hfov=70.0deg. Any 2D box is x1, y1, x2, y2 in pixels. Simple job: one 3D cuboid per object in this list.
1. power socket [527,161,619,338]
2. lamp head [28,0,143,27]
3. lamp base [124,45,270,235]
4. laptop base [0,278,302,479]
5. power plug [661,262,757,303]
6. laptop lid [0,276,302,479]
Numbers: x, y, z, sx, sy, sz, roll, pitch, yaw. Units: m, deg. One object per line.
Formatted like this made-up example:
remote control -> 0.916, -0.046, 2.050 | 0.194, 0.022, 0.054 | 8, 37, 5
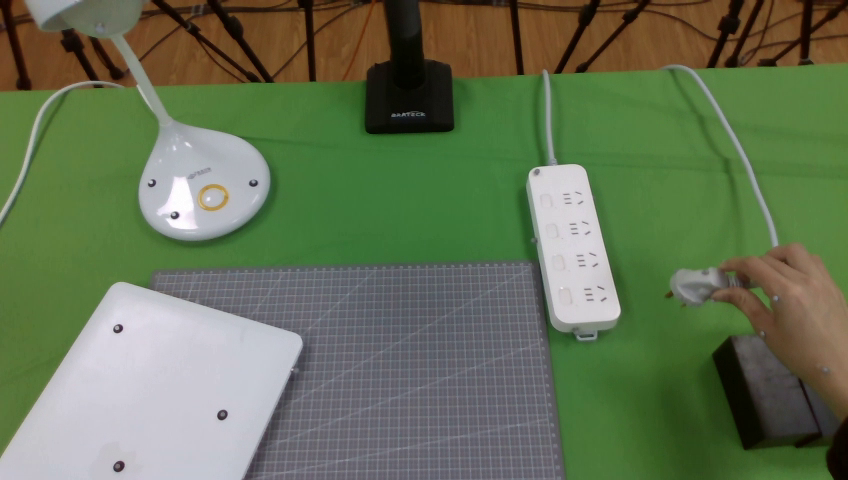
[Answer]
power socket -> 0.168, 0.001, 0.696 | 0.072, 0.033, 0.224 | -3, 59, -1
lamp head -> -0.252, -0.230, 0.436 | 0.112, 0.111, 0.123 | -29, 106, -14
lamp base -> -0.285, -0.122, 0.698 | 0.160, 0.182, 0.177 | -37, 62, -18
laptop base -> -0.293, 0.219, 0.595 | 0.235, 0.023, 0.352 | 16, 62, 8
power plug -> 0.256, 0.046, 0.553 | 0.072, 0.053, 0.035 | 27, 56, -3
laptop lid -> -0.291, 0.213, 0.584 | 0.241, 0.013, 0.354 | 17, 62, 10
